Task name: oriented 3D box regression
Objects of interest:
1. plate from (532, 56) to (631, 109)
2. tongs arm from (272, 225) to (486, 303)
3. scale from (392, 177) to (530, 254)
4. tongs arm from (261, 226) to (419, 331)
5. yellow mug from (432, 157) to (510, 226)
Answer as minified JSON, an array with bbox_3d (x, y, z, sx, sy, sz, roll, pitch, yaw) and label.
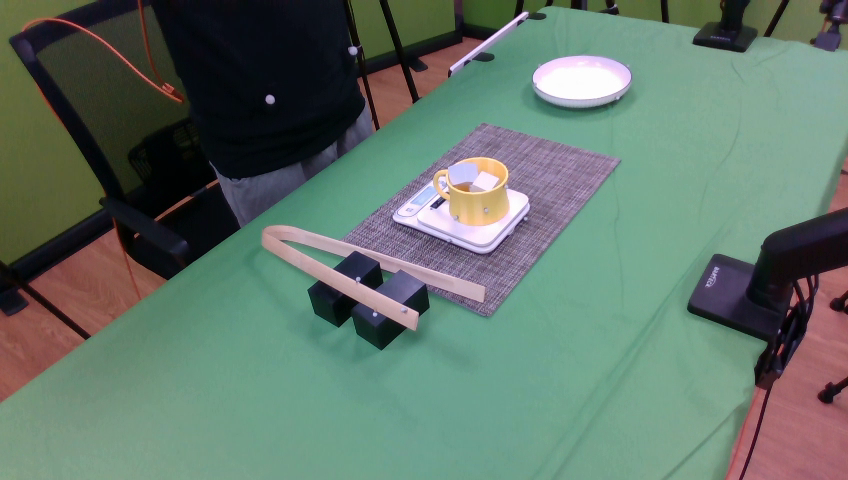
[{"bbox_3d":[0.335,-0.336,1.301,0.207,0.039,0.206,-4,41,4],"label":"plate"},{"bbox_3d":[-0.081,0.032,0.930,0.385,0.028,0.028,16,24,26],"label":"tongs arm"},{"bbox_3d":[0.060,-0.050,1.006,0.199,0.032,0.149,22,48,30],"label":"scale"},{"bbox_3d":[-0.132,0.044,0.867,0.381,0.026,0.051,21,23,39],"label":"tongs arm"},{"bbox_3d":[0.072,-0.082,0.968,0.130,0.064,0.100,13,45,24],"label":"yellow mug"}]
